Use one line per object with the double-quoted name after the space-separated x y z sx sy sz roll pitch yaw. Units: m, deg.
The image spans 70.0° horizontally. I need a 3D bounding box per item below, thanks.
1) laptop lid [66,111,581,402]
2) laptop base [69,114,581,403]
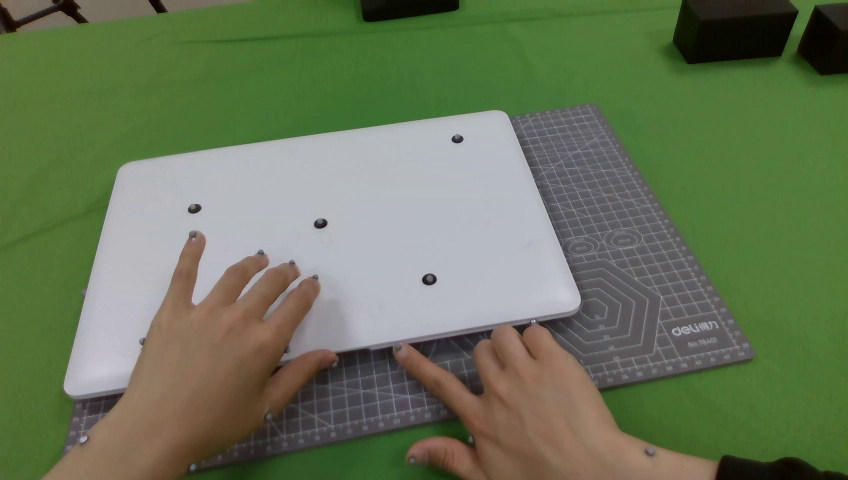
-0.080 -0.007 0.477 0.357 0.013 0.239 -8 49 -3 "laptop lid"
-0.079 -0.001 0.487 0.355 0.023 0.233 -9 51 -4 "laptop base"
